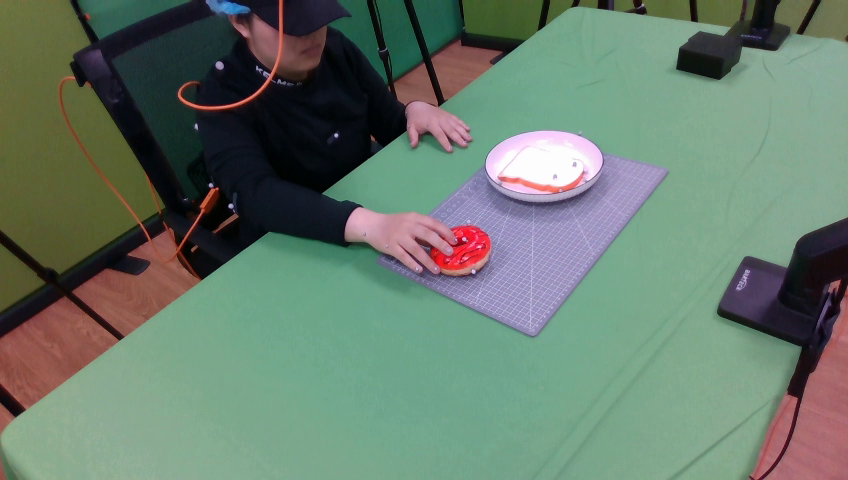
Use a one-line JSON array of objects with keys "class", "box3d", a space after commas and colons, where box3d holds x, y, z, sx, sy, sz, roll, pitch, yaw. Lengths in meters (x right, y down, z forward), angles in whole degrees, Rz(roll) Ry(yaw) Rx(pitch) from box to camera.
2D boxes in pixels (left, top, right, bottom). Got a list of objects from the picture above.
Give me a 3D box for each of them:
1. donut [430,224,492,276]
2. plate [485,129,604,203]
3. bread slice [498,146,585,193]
[{"class": "donut", "box3d": [0.056, 0.014, 0.934, 0.099, 0.048, 0.098, -10, 39, 9]}, {"class": "plate", "box3d": [0.213, -0.129, 1.079, 0.209, 0.038, 0.208, -5, 40, 5]}, {"class": "bread slice", "box3d": [0.216, -0.125, 1.076, 0.133, 0.018, 0.107, 16, 47, 28]}]
